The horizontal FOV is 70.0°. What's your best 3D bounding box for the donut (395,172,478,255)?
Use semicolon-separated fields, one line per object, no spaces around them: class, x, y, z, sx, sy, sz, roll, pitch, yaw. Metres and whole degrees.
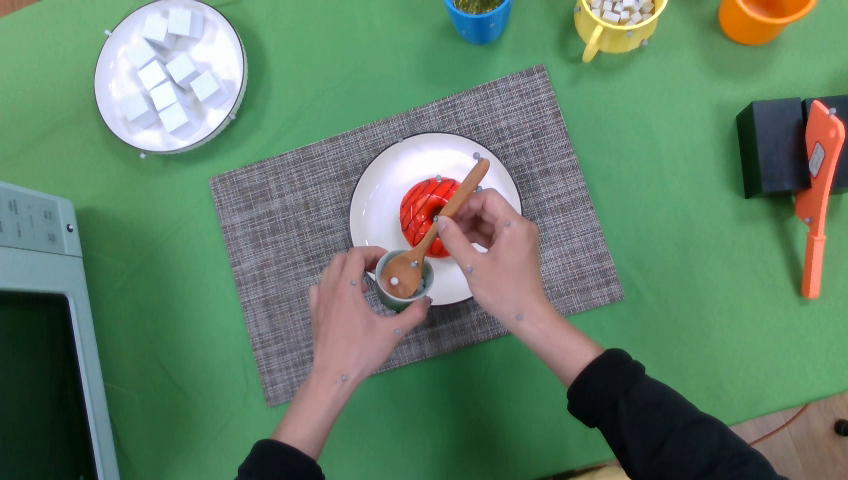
donut;0.015;-0.031;0.710;0.099;0.048;0.099;-1;85;9

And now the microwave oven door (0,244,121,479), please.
microwave oven door;-0.430;0.177;0.642;0.039;0.244;0.354;-15;82;6

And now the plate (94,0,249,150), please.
plate;-0.323;-0.215;0.790;0.207;0.039;0.207;-1;84;8

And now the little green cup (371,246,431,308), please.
little green cup;-0.025;0.041;0.634;0.062;0.039;0.061;5;58;-7

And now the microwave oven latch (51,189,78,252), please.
microwave oven latch;-0.466;-0.023;0.771;0.030;0.029;0.079;-13;83;6

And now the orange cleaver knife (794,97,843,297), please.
orange cleaver knife;0.415;-0.043;0.650;0.012;0.077;0.213;-3;113;10

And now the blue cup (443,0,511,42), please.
blue cup;0.064;-0.281;0.713;0.092;0.100;0.092;-1;85;7

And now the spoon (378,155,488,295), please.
spoon;0.007;-0.008;0.570;0.041;0.021;0.194;46;133;10

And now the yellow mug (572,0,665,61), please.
yellow mug;0.218;-0.268;0.708;0.099;0.064;0.131;31;90;10

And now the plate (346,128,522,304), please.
plate;0.012;-0.028;0.721;0.209;0.038;0.208;-1;84;7

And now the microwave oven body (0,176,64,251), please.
microwave oven body;-0.580;0.173;0.668;0.326;0.261;0.440;-15;83;5
